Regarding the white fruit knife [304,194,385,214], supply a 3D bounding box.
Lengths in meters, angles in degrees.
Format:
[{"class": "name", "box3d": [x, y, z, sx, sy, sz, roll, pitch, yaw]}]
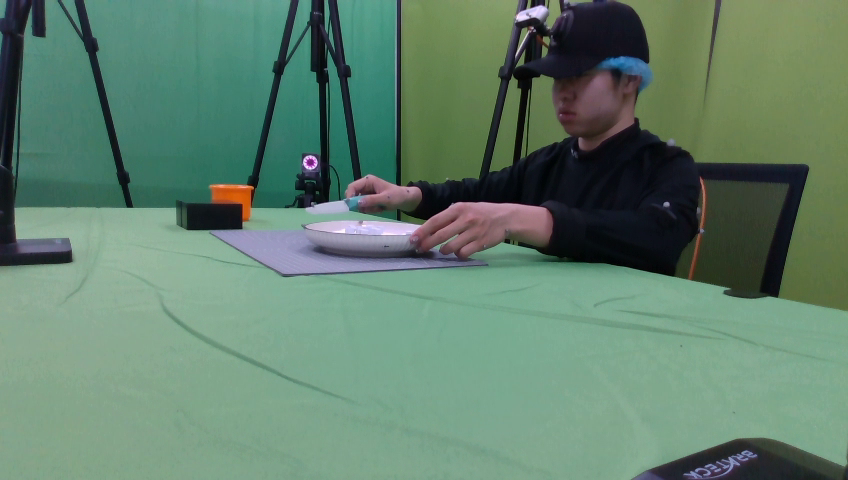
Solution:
[{"class": "white fruit knife", "box3d": [-0.148, -0.068, 1.151, 0.016, 0.027, 0.208, -9, 3, 39]}]

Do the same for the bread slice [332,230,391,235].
[{"class": "bread slice", "box3d": [-0.088, 0.000, 0.947, 0.105, 0.019, 0.131, -5, 11, -45]}]

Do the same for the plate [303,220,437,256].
[{"class": "plate", "box3d": [-0.084, -0.003, 0.951, 0.209, 0.038, 0.209, 3, 7, 0]}]
